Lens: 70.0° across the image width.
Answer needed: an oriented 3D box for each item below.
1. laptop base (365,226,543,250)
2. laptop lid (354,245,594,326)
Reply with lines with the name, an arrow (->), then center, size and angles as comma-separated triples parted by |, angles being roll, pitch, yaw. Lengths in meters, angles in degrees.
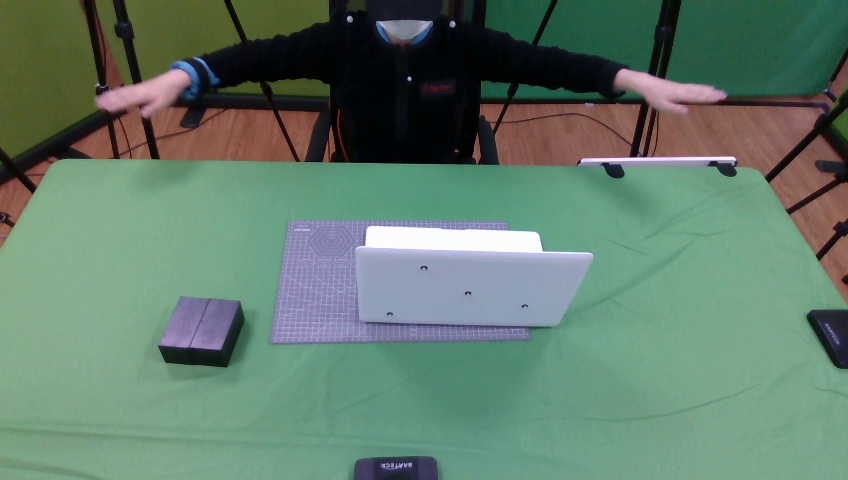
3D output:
laptop base -> 0.061, 0.063, 1.144 | 0.354, 0.023, 0.234 | 2, 43, -3
laptop lid -> 0.069, 0.080, 0.964 | 0.357, 0.243, 0.013 | 2, 55, -4
